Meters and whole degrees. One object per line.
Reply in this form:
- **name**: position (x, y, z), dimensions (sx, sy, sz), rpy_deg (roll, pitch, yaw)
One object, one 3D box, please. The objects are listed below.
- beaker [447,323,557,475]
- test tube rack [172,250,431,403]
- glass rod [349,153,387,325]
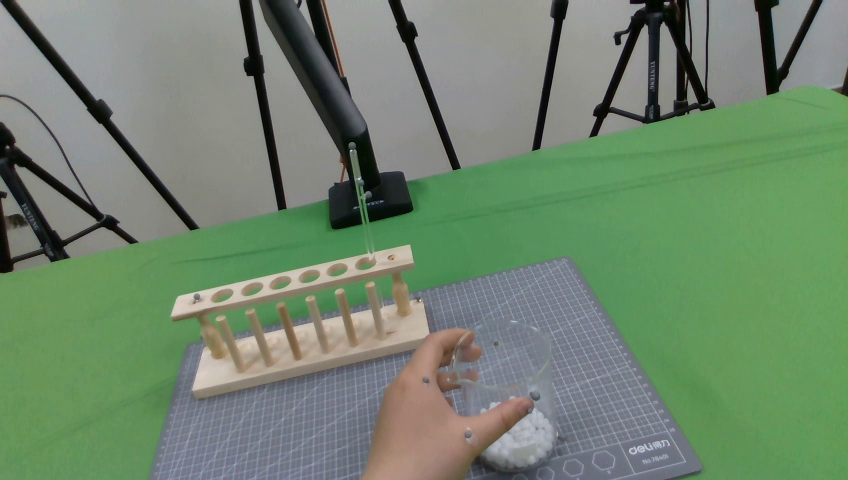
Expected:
- **beaker**: position (0.064, 0.128, 0.476), dimensions (0.084, 0.101, 0.073), rpy_deg (-21, 32, -14)
- **test tube rack**: position (-0.122, 0.087, 0.616), dimensions (0.242, 0.086, 0.066), rpy_deg (-13, 32, -1)
- **glass rod**: position (-0.052, 0.007, 0.593), dimensions (0.008, 0.201, 0.008), rpy_deg (-5, 33, 4)
